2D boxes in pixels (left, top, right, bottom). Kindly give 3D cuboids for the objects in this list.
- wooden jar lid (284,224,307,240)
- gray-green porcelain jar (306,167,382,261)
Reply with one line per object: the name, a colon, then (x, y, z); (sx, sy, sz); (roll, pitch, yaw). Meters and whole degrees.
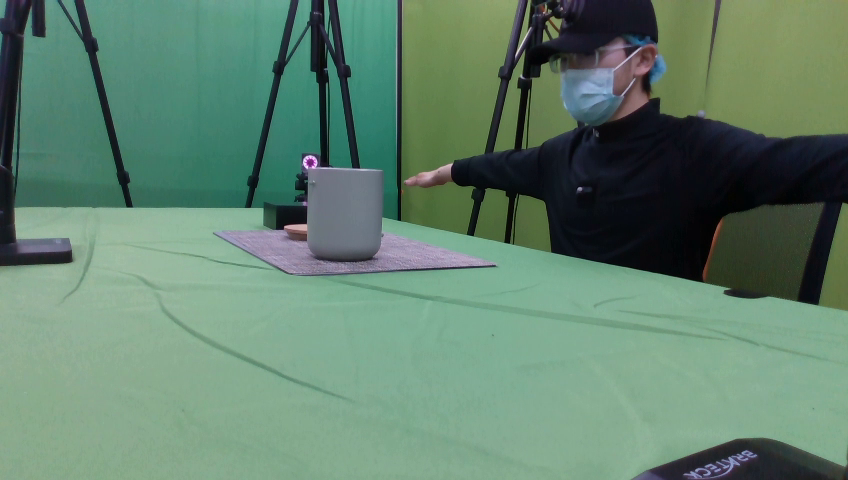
wooden jar lid: (-0.190, -0.014, 1.057); (0.108, 0.020, 0.108); (2, 6, 0)
gray-green porcelain jar: (-0.112, -0.039, 0.850); (0.106, 0.126, 0.106); (2, 7, 0)
